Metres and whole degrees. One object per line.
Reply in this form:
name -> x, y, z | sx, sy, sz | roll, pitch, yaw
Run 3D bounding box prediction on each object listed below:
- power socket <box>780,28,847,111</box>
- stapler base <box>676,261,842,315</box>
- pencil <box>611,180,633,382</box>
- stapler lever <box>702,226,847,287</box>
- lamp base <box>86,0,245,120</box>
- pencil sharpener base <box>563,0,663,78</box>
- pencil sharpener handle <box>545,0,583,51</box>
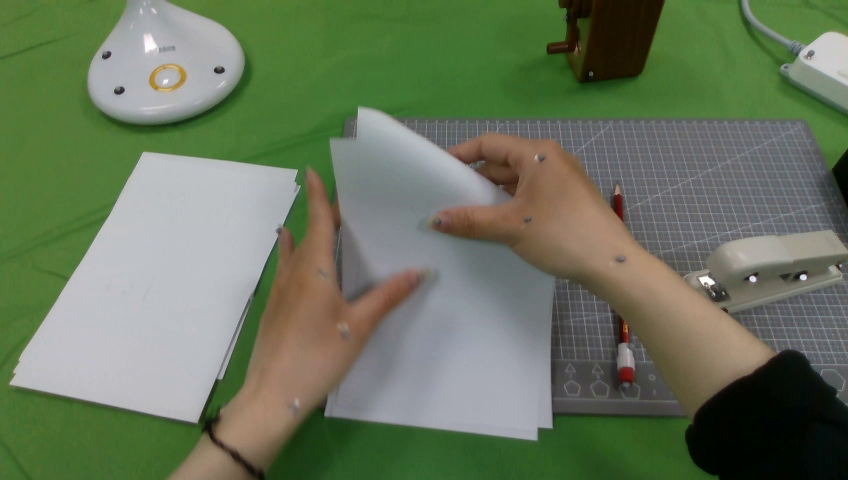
power socket -> 0.461, -0.133, 0.578 | 0.072, 0.033, 0.224 | -35, 61, -21
stapler base -> 0.266, 0.024, 0.476 | 0.131, 0.024, 0.041 | -13, 57, -9
pencil -> 0.158, 0.023, 0.489 | 0.012, 0.012, 0.192 | 6, 54, 6
stapler lever -> 0.267, 0.009, 0.456 | 0.118, 0.040, 0.026 | -13, 57, -9
lamp base -> -0.278, -0.237, 0.578 | 0.161, 0.182, 0.177 | -26, 56, -16
pencil sharpener base -> 0.183, -0.222, 0.602 | 0.077, 0.108, 0.060 | -9, 56, -4
pencil sharpener handle -> 0.133, -0.217, 0.584 | 0.031, 0.068, 0.035 | -9, 33, -4
